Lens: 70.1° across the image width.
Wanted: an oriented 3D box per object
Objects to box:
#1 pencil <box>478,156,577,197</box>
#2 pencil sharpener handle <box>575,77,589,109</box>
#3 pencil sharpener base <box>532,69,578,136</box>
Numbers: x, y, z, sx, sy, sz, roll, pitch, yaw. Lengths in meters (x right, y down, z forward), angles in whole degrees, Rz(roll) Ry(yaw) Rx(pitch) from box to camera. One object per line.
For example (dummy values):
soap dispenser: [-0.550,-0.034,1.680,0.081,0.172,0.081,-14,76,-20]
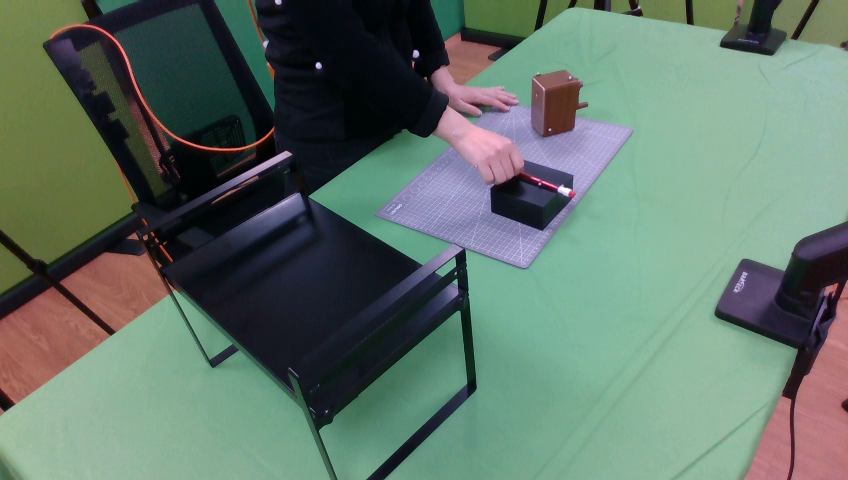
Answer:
pencil: [0.167,-0.108,1.002,0.192,0.012,0.012,27,51,32]
pencil sharpener handle: [0.305,-0.289,1.177,0.031,0.068,0.035,-15,33,-8]
pencil sharpener base: [0.256,-0.268,1.179,0.077,0.107,0.061,-15,41,-9]
